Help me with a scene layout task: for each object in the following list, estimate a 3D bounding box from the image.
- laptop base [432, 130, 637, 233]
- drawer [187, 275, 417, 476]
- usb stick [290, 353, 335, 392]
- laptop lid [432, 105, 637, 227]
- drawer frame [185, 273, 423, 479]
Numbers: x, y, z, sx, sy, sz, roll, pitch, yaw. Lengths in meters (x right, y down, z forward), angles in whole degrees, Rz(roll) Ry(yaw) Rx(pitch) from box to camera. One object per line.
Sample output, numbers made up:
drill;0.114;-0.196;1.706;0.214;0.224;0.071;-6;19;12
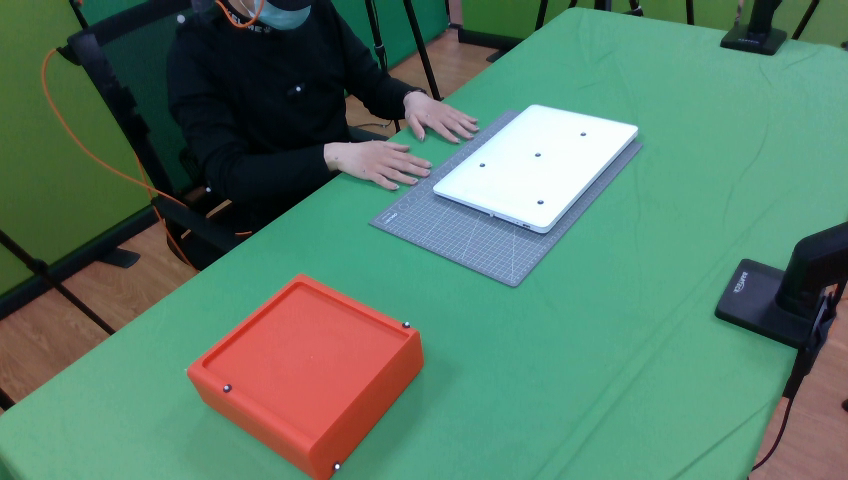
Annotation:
laptop base;0.210;-0.142;1.111;0.233;0.023;0.355;21;47;34
drawer;-0.148;0.159;0.761;0.210;0.073;0.195;22;47;29
usb stick;-0.146;0.172;0.774;0.059;0.027;0.021;-29;44;-24
laptop lid;0.207;-0.152;1.105;0.239;0.013;0.358;23;49;34
drawer frame;-0.145;0.158;0.760;0.212;0.083;0.202;22;47;28
